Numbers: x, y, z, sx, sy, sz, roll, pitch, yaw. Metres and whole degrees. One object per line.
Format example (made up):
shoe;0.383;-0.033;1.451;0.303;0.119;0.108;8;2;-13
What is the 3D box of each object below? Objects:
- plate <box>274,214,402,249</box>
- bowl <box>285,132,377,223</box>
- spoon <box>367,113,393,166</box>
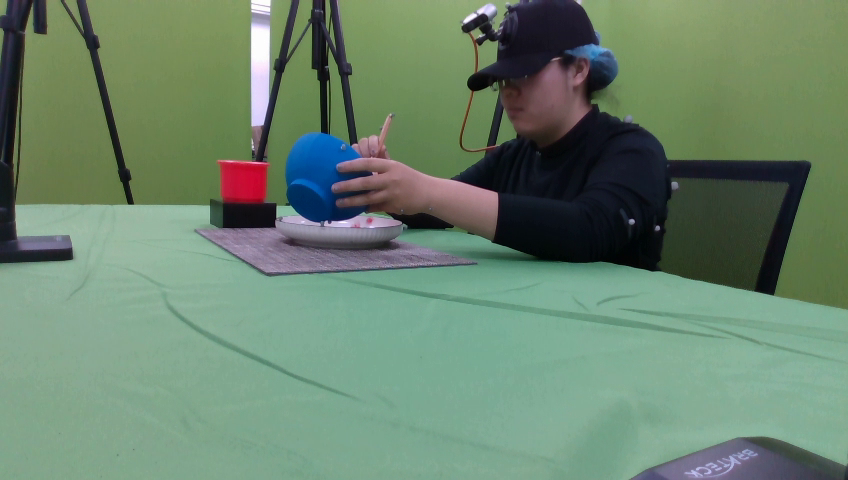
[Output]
plate;-0.141;-0.015;0.993;0.208;0.039;0.207;3;7;0
bowl;-0.155;-0.078;0.908;0.151;0.152;0.077;6;44;30
spoon;-0.088;-0.139;1.011;0.022;0.193;0.041;32;-30;-14
